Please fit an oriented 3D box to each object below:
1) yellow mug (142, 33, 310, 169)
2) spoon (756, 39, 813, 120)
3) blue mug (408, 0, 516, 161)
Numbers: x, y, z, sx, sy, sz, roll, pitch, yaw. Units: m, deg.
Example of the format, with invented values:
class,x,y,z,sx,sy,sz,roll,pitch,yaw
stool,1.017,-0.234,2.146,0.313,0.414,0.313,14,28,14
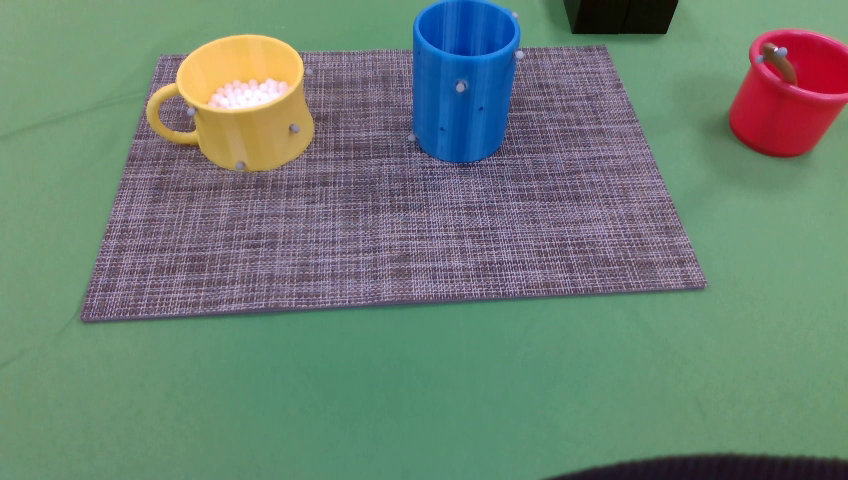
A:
class,x,y,z,sx,sy,sz,roll,pitch,yaw
yellow mug,-0.165,-0.113,0.504,0.131,0.064,0.099,-15,55,-12
spoon,0.292,-0.130,0.493,0.195,0.022,0.041,11,32,-54
blue mug,0.039,-0.141,0.510,0.082,0.107,0.116,34,58,22
